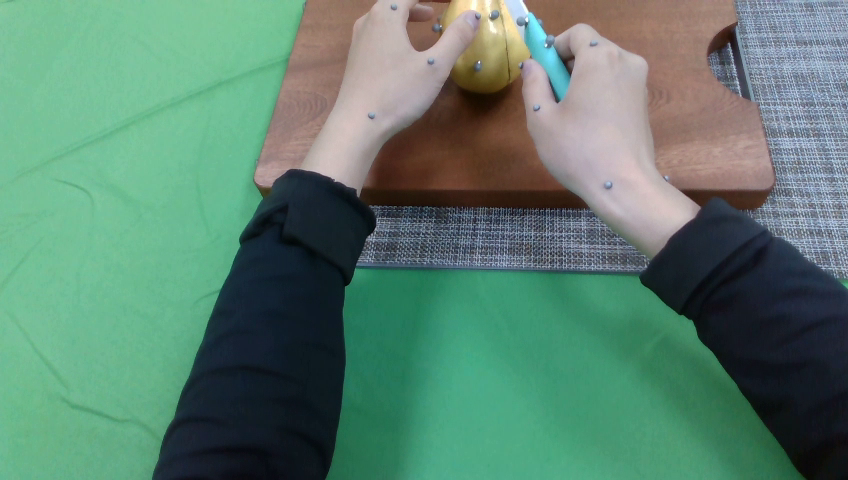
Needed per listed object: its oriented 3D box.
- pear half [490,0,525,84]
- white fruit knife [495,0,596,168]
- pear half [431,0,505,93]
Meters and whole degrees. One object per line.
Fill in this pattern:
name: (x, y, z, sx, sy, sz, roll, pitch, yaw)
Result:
pear half: (0.068, -0.171, 0.489, 0.031, 0.089, 0.069, -16, 55, -2)
white fruit knife: (0.070, -0.146, 0.429, 0.016, 0.027, 0.206, -21, 77, -18)
pear half: (0.032, -0.169, 0.480, 0.056, 0.111, 0.075, -17, 53, 0)
